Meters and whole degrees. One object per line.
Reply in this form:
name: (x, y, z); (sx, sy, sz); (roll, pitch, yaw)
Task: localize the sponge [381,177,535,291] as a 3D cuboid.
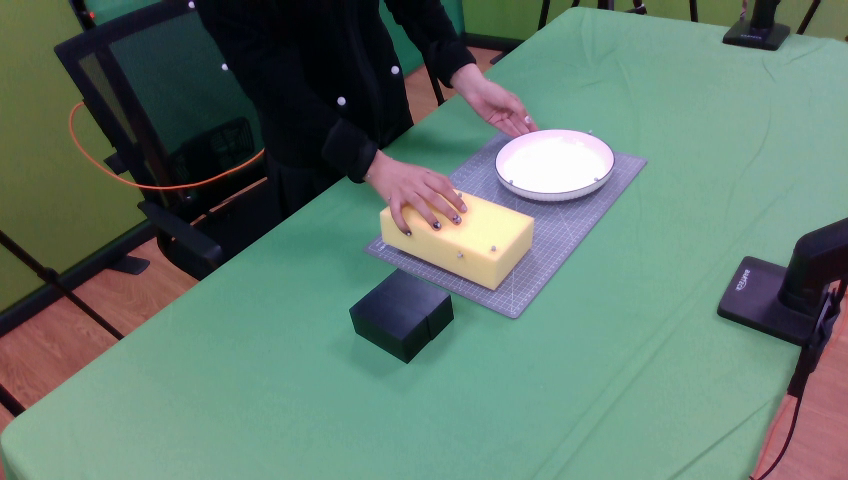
sponge: (0.051, -0.014, 0.933); (0.205, 0.061, 0.118); (23, 46, 25)

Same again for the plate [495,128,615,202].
plate: (0.231, -0.130, 1.077); (0.209, 0.038, 0.208); (-5, 40, 5)
